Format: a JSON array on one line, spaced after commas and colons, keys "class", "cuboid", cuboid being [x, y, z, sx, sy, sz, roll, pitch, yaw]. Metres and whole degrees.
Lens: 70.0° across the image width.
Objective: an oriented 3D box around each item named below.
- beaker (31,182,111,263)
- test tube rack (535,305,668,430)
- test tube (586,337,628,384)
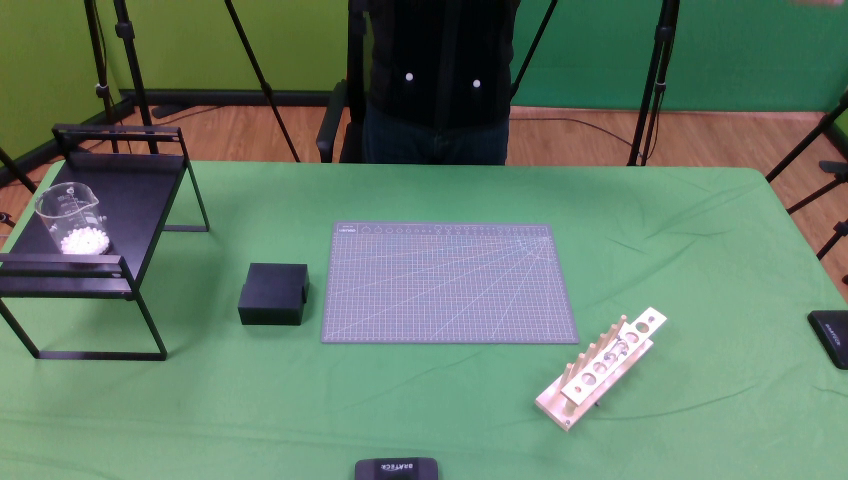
[{"class": "beaker", "cuboid": [-0.502, -0.022, 0.877, 0.084, 0.101, 0.073, -2, 47, -7]}, {"class": "test tube rack", "cuboid": [0.290, 0.193, 0.984, 0.242, 0.085, 0.066, -32, 56, -30]}, {"class": "test tube", "cuboid": [0.273, 0.191, 0.916, 0.017, 0.151, 0.017, 5, 50, -5]}]
